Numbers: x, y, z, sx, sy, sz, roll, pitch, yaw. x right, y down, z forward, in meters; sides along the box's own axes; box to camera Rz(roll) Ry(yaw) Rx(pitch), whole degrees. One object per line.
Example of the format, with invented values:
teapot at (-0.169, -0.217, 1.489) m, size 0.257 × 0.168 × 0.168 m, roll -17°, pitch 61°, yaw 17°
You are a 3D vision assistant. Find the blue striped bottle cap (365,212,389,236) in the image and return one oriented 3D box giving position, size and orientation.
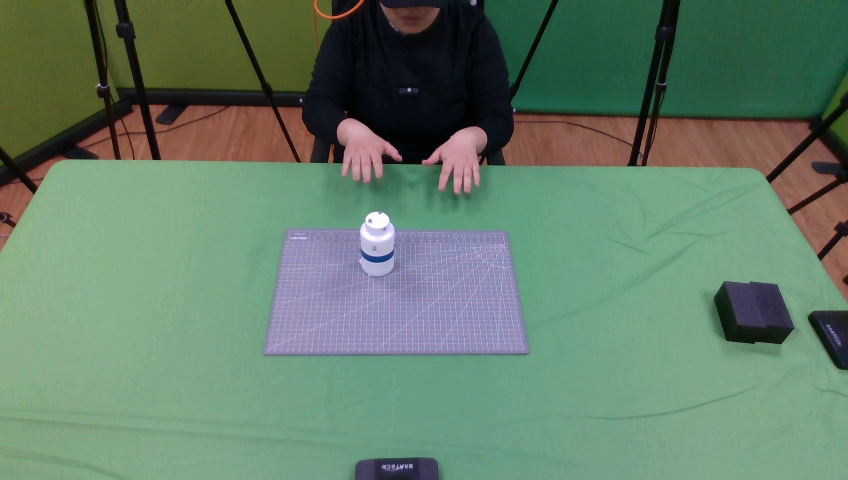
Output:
blue striped bottle cap at (-0.084, -0.029, 1.077) m, size 0.044 × 0.021 × 0.044 m, roll 1°, pitch 46°, yaw -1°

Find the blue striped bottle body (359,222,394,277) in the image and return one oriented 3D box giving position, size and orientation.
blue striped bottle body at (-0.087, 0.006, 1.113) m, size 0.063 × 0.121 × 0.062 m, roll 2°, pitch 46°, yaw -2°
